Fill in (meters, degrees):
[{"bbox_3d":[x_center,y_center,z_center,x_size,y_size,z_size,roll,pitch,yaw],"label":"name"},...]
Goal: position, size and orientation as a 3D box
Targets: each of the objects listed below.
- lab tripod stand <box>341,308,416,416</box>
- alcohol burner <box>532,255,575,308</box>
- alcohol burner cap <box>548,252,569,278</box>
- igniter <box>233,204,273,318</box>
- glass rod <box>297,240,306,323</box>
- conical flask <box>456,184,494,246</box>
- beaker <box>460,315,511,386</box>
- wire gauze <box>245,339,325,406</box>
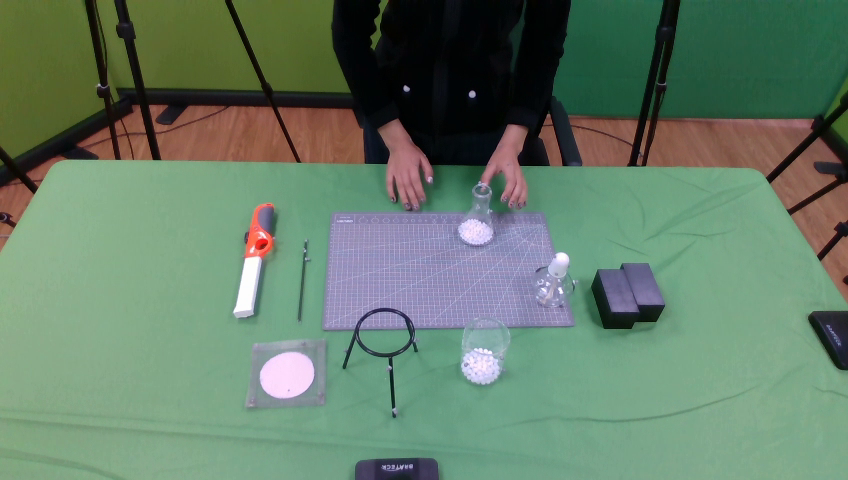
[{"bbox_3d":[-0.061,0.177,0.946,0.148,0.132,0.147,2,44,-2],"label":"lab tripod stand"},{"bbox_3d":[0.235,0.066,1.087,0.078,0.119,0.077,4,45,-3],"label":"alcohol burner"},{"bbox_3d":[0.238,0.042,1.060,0.034,0.048,0.033,1,53,-1],"label":"alcohol burner cap"},{"bbox_3d":[-0.321,0.029,1.143,0.057,0.025,0.274,-7,46,4],"label":"igniter"},{"bbox_3d":[-0.227,0.072,1.121,0.008,0.008,0.198,-2,46,-5],"label":"glass rod"},{"bbox_3d":[0.106,-0.052,1.185,0.075,0.122,0.075,2,46,-2],"label":"conical flask"},{"bbox_3d":[0.094,0.183,0.977,0.084,0.101,0.073,-20,50,-21],"label":"beaker"},{"bbox_3d":[-0.224,0.215,0.984,0.125,0.011,0.120,-2,46,-5],"label":"wire gauze"}]
